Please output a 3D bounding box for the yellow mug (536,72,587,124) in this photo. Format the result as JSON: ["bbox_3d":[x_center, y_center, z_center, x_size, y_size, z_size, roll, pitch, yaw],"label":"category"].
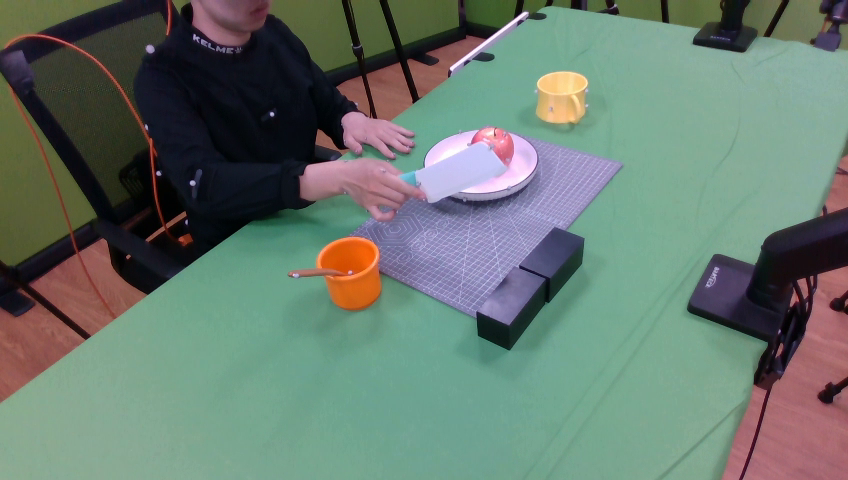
[{"bbox_3d":[0.284,-0.281,1.222,0.100,0.064,0.130,-16,42,-9],"label":"yellow mug"}]

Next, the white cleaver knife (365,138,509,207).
[{"bbox_3d":[0.007,-0.087,0.923,0.284,0.066,0.021,-17,28,46],"label":"white cleaver knife"}]

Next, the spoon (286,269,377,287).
[{"bbox_3d":[-0.125,0.049,0.831,0.041,0.195,0.021,22,93,28],"label":"spoon"}]

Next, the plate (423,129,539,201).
[{"bbox_3d":[0.103,-0.132,1.092,0.209,0.038,0.208,-4,41,4],"label":"plate"}]

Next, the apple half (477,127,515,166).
[{"bbox_3d":[0.132,-0.164,1.085,0.053,0.075,0.080,-28,41,-28],"label":"apple half"}]

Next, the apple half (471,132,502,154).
[{"bbox_3d":[0.102,-0.146,1.067,0.033,0.081,0.080,-29,44,-29],"label":"apple half"}]
